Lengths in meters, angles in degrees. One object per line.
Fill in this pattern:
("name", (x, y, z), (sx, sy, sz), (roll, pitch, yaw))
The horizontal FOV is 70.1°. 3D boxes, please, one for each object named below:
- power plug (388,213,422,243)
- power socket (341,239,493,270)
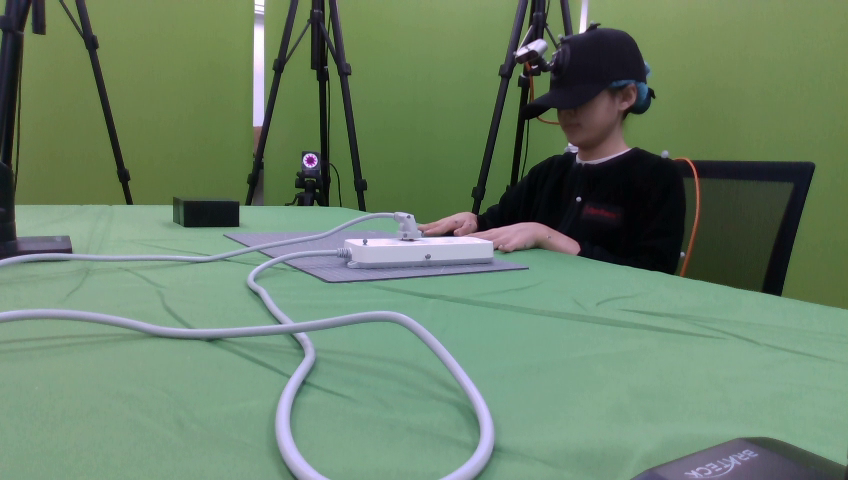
("power plug", (-0.027, -0.009, 0.848), (0.035, 0.052, 0.072), (1, 8, -18))
("power socket", (-0.006, 0.018, 0.831), (0.228, 0.032, 0.072), (-1, 7, -28))
